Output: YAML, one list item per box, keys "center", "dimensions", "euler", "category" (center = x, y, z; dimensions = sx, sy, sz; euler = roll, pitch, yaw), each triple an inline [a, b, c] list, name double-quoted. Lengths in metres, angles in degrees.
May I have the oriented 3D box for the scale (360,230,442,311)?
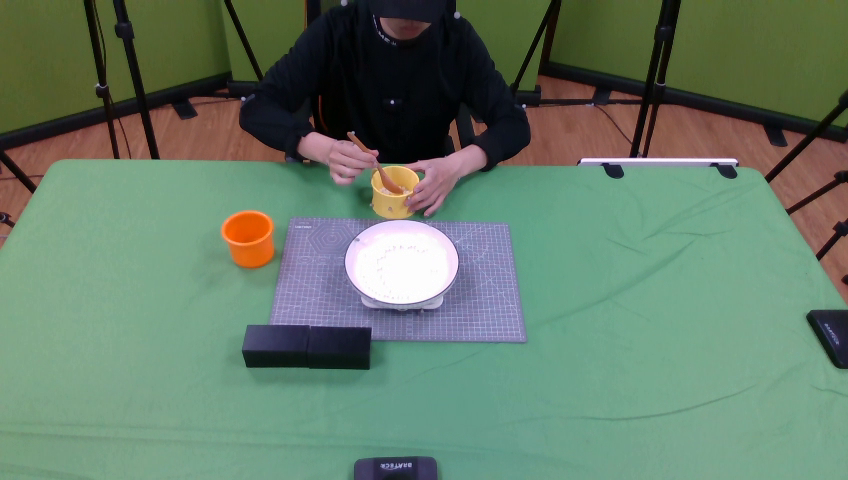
- center: [-0.042, 0.047, 1.138]
  dimensions: [0.149, 0.032, 0.199]
  euler: [2, 46, -3]
  category: "scale"

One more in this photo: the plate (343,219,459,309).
- center: [-0.041, 0.046, 1.094]
  dimensions: [0.209, 0.038, 0.208]
  euler: [2, 46, -2]
  category: "plate"

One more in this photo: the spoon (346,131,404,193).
- center: [-0.098, -0.151, 1.198]
  dimensions: [0.041, 0.195, 0.021]
  euler: [12, 61, 41]
  category: "spoon"

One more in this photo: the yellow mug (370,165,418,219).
- center: [-0.073, -0.109, 1.267]
  dimensions: [0.100, 0.064, 0.130]
  euler: [-30, 54, -30]
  category: "yellow mug"
